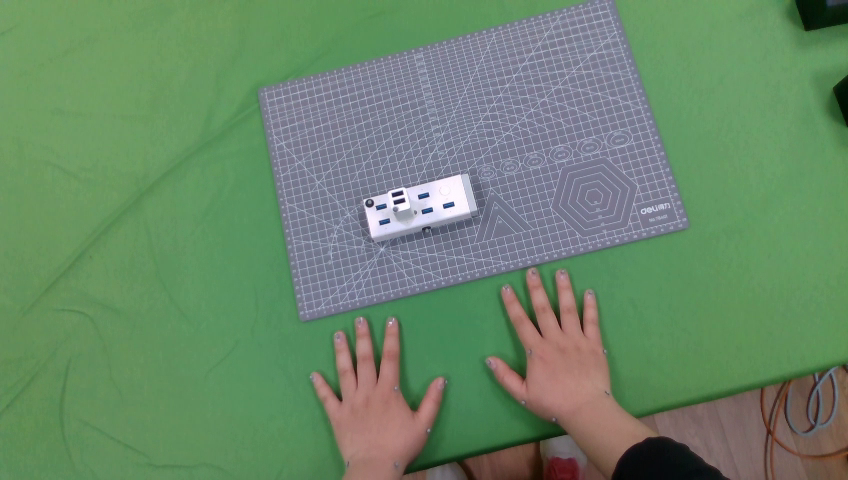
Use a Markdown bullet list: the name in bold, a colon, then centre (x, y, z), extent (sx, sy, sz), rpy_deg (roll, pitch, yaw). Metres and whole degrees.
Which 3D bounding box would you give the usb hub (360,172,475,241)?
- **usb hub**: centre (-0.008, -0.039, 0.693), extent (0.125, 0.025, 0.049), rpy_deg (-14, 76, 2)

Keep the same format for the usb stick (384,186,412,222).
- **usb stick**: centre (-0.027, -0.037, 0.665), extent (0.021, 0.059, 0.027), rpy_deg (-18, 74, 2)
